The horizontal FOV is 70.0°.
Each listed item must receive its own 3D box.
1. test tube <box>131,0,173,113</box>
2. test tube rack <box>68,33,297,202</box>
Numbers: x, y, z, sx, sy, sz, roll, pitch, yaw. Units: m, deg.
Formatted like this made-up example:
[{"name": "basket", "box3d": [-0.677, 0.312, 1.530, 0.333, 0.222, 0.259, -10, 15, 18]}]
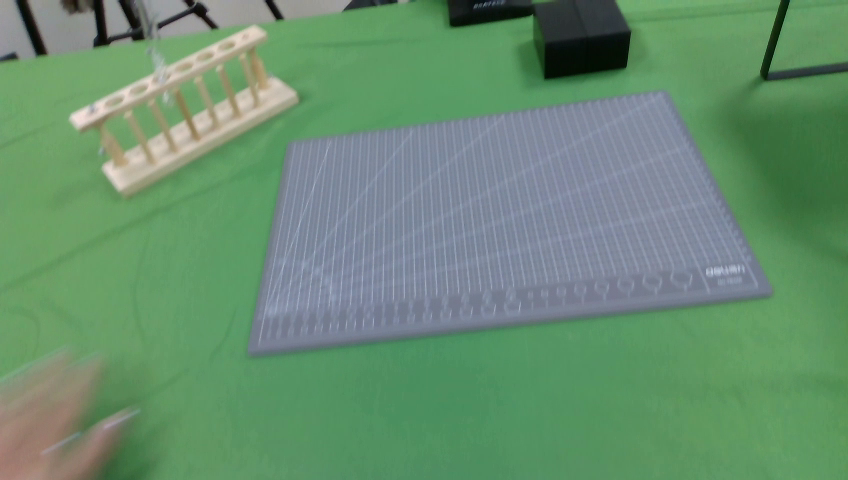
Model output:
[{"name": "test tube", "box3d": [-0.316, -0.222, 0.699, 0.017, 0.151, 0.017, -8, 16, 3]}, {"name": "test tube rack", "box3d": [-0.283, -0.153, 0.734, 0.242, 0.086, 0.066, -36, 51, -21]}]
